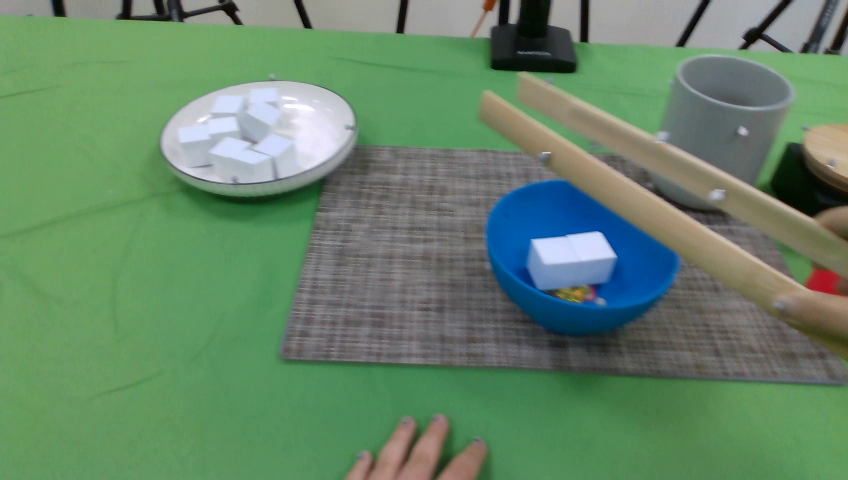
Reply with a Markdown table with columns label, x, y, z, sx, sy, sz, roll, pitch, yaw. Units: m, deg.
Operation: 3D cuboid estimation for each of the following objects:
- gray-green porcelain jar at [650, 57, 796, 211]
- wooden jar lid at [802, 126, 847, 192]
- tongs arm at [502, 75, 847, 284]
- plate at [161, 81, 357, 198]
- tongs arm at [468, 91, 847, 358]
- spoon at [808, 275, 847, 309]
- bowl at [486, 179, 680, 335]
| label | x | y | z | sx | sy | sz | roll | pitch | yaw |
| --- | --- | --- | --- | --- | --- | --- | --- | --- | --- |
| gray-green porcelain jar | 0.290 | -0.101 | 0.607 | 0.106 | 0.127 | 0.105 | 1 | 43 | 0 |
| wooden jar lid | 0.429 | -0.076 | 0.596 | 0.108 | 0.021 | 0.107 | 0 | 43 | 0 |
| tongs arm | 0.189 | -0.009 | 0.367 | 0.381 | 0.027 | 0.051 | 34 | 51 | 25 |
| plate | -0.176 | -0.110 | 0.668 | 0.209 | 0.038 | 0.207 | 0 | 43 | 0 |
| tongs arm | 0.171 | 0.003 | 0.354 | 0.384 | 0.028 | 0.028 | 37 | 49 | 27 |
| spoon | 0.411 | 0.020 | 0.475 | 0.022 | 0.193 | 0.041 | 47 | 43 | -20 |
| bowl | 0.123 | 0.025 | 0.501 | 0.151 | 0.077 | 0.150 | 1 | 43 | -1 |
